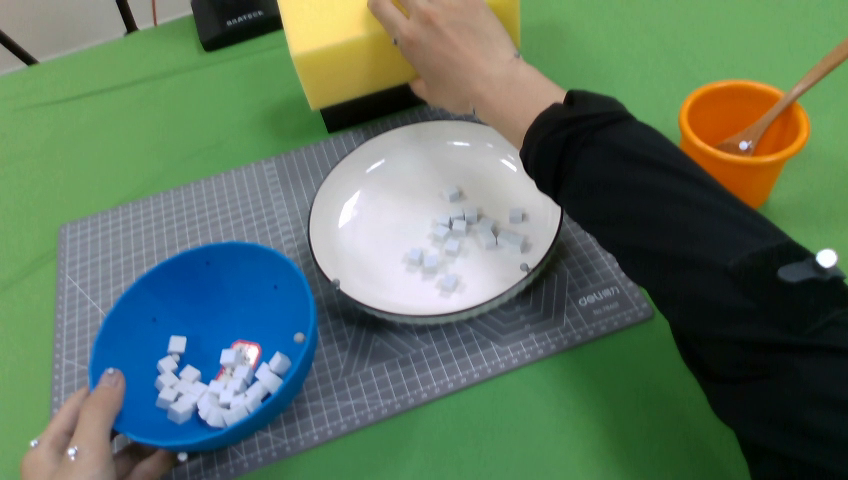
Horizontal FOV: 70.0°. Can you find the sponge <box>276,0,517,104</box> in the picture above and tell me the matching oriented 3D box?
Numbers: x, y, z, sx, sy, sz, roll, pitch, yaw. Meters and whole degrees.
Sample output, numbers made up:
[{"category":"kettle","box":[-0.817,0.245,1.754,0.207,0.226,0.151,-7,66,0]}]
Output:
[{"category":"sponge","box":[-0.028,-0.213,0.572,0.207,0.061,0.117,-18,51,-5]}]

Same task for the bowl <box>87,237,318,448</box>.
[{"category":"bowl","box":[-0.140,0.080,0.425,0.151,0.077,0.150,-4,53,6]}]

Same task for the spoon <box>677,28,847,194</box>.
[{"category":"spoon","box":[0.273,-0.107,0.457,0.022,0.194,0.041,7,43,-43]}]

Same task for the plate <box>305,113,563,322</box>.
[{"category":"plate","box":[0.008,-0.021,0.500,0.209,0.038,0.207,-4,55,6]}]
